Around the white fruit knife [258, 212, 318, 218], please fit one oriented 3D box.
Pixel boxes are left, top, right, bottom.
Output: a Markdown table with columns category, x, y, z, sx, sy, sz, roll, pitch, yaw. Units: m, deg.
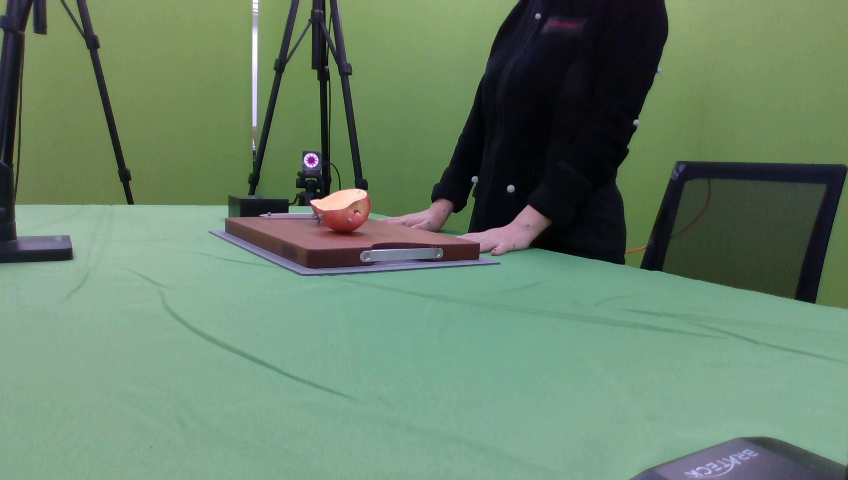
| category | x | y | z | sx | sy | sz | roll | pitch | yaw |
| --- | --- | --- | --- | --- | --- | --- | --- | --- | --- |
| white fruit knife | -0.200 | -0.046 | 1.112 | 0.208 | 0.016 | 0.027 | -3 | -19 | -26 |

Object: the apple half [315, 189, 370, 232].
| category | x | y | z | sx | sy | sz | roll | pitch | yaw |
| --- | --- | --- | --- | --- | --- | --- | --- | --- | --- |
| apple half | -0.123 | -0.041 | 0.929 | 0.074 | 0.053 | 0.081 | 11 | 35 | 39 |

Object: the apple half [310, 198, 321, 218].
| category | x | y | z | sx | sy | sz | roll | pitch | yaw |
| --- | --- | --- | --- | --- | --- | --- | --- | --- | --- |
| apple half | -0.160 | -0.044 | 1.036 | 0.081 | 0.033 | 0.081 | 16 | 15 | -4 |
